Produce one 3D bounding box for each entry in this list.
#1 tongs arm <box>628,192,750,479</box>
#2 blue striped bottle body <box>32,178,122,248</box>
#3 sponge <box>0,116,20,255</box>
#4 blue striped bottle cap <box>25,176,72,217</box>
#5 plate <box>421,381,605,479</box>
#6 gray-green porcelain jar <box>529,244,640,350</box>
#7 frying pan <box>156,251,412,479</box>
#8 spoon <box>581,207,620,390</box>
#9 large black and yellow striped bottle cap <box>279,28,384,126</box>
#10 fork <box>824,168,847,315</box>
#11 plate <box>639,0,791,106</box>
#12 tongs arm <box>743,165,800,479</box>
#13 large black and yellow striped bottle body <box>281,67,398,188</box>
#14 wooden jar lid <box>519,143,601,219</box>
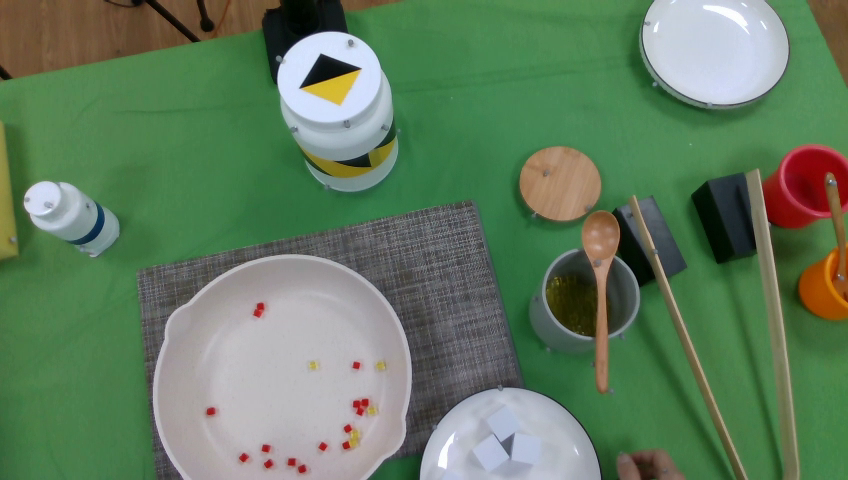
[{"bbox_3d":[0.328,0.119,0.715,0.051,0.026,0.383,-17,84,-6],"label":"tongs arm"},{"bbox_3d":[-0.435,-0.035,0.753,0.063,0.121,0.062,0,73,1],"label":"blue striped bottle body"},{"bbox_3d":[-0.621,-0.073,0.797,0.118,0.061,0.205,-17,75,-5],"label":"sponge"},{"bbox_3d":[-0.437,-0.051,0.705,0.044,0.021,0.044,0,75,1],"label":"blue striped bottle cap"},{"bbox_3d":[0.101,0.270,0.701,0.208,0.039,0.206,0,75,0],"label":"plate"},{"bbox_3d":[0.182,0.072,0.713,0.106,0.127,0.105,0,73,1],"label":"gray-green porcelain jar"},{"bbox_3d":[-0.207,0.243,0.676,0.306,0.103,0.486,28,68,9],"label":"frying pan"},{"bbox_3d":[0.188,0.061,0.644,0.041,0.022,0.193,4,78,-2],"label":"spoon"},{"bbox_3d":[-0.102,-0.182,0.673,0.115,0.019,0.114,0,75,1],"label":"large black and yellow striped bottle cap"},{"bbox_3d":[0.490,0.006,0.717,0.028,0.018,0.209,-25,119,1],"label":"fork"},{"bbox_3d":[0.406,-0.279,0.858,0.209,0.038,0.208,0,74,1],"label":"plate"},{"bbox_3d":[0.409,0.102,0.721,0.028,0.028,0.386,-3,84,-8],"label":"tongs arm"},{"bbox_3d":[-0.102,-0.156,0.753,0.131,0.185,0.130,0,73,1],"label":"large black and yellow striped bottle body"},{"bbox_3d":[0.182,-0.078,0.813,0.108,0.021,0.108,0,75,1],"label":"wooden jar lid"}]
